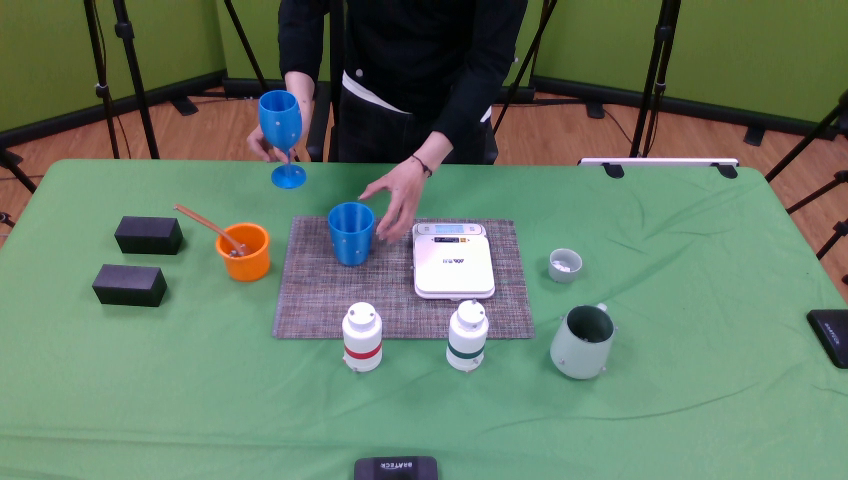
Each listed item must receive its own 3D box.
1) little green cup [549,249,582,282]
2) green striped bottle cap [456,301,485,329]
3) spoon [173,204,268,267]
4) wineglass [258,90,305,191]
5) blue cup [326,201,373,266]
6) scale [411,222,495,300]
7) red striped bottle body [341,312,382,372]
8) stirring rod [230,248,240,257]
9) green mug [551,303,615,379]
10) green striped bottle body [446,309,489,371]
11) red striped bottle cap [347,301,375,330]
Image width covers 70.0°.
[{"bbox_3d":[0.268,0.050,1.156,0.061,0.039,0.061,2,45,-1],"label":"little green cup"},{"bbox_3d":[0.073,0.116,0.943,0.044,0.020,0.044,3,46,-3],"label":"green striped bottle cap"},{"bbox_3d":[-0.363,-0.009,1.089,0.021,0.195,0.041,-35,31,23],"label":"spoon"},{"bbox_3d":[-0.250,-0.176,1.076,0.074,0.173,0.073,3,48,-3],"label":"wineglass"},{"bbox_3d":[-0.138,-0.006,1.132,0.093,0.101,0.092,3,45,-3],"label":"blue cup"},{"bbox_3d":[0.052,0.031,1.158,0.149,0.032,0.199,1,46,-4],"label":"scale"},{"bbox_3d":[-0.100,0.154,0.972,0.063,0.120,0.062,2,46,-2],"label":"red striped bottle body"},{"bbox_3d":[-0.330,0.023,1.059,0.014,0.176,0.006,33,79,-11],"label":"stirring rod"},{"bbox_3d":[0.271,0.157,1.007,0.092,0.105,0.125,27,50,21],"label":"green mug"},{"bbox_3d":[0.070,0.155,0.984,0.063,0.120,0.063,2,46,-2],"label":"green striped bottle body"},{"bbox_3d":[-0.097,0.116,0.934,0.044,0.018,0.044,2,49,-3],"label":"red striped bottle cap"}]
